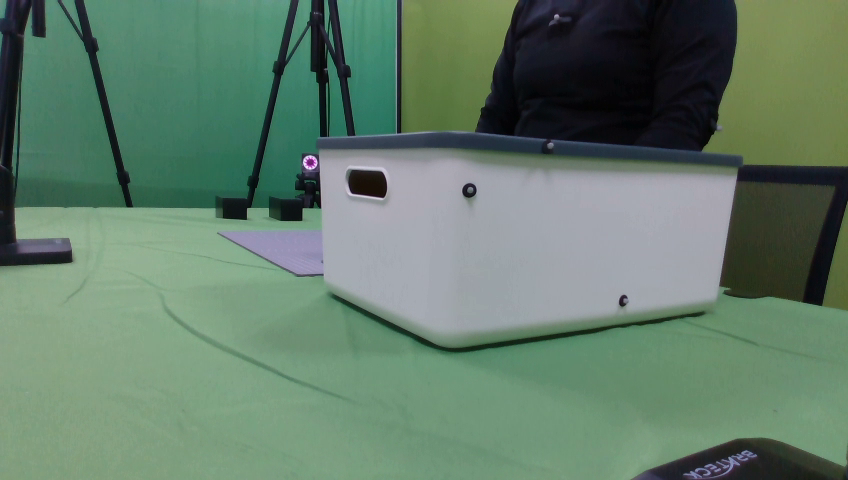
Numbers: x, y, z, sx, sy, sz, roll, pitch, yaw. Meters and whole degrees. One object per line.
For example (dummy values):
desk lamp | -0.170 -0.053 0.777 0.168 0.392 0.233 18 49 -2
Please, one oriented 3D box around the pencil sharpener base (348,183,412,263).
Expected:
pencil sharpener base | -0.059 -0.024 0.846 0.077 0.107 0.061 -1 7 -30

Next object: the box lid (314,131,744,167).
box lid | 0.101 -0.085 0.602 0.373 0.015 0.262 -2 8 -32

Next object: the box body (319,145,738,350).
box body | 0.100 -0.013 0.611 0.366 0.160 0.253 -2 8 -32

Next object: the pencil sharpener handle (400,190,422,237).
pencil sharpener handle | -0.016 -0.038 0.872 0.031 0.067 0.036 -1 16 -30
